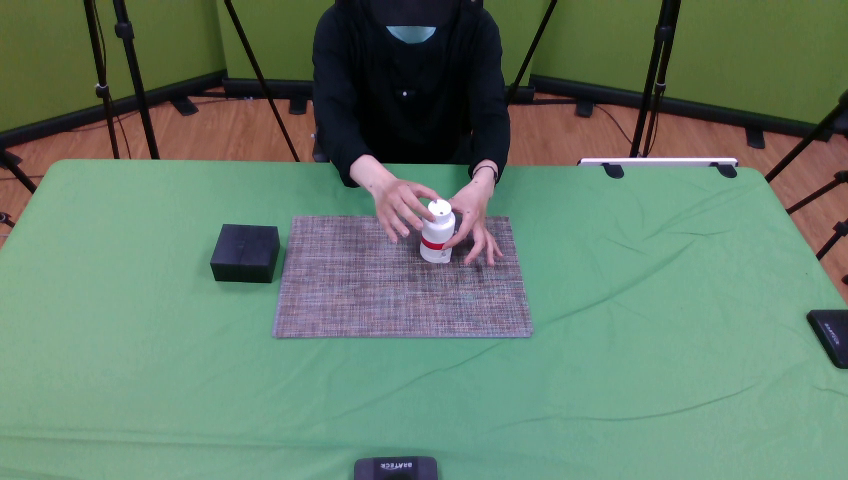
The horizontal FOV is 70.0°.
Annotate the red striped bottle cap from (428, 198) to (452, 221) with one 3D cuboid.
[{"bbox_3d":[0.029,-0.056,1.098,0.044,0.018,0.044,2,50,-2],"label":"red striped bottle cap"}]

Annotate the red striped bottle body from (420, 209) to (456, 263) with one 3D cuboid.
[{"bbox_3d":[0.025,-0.018,1.139,0.063,0.120,0.062,2,47,-2],"label":"red striped bottle body"}]
